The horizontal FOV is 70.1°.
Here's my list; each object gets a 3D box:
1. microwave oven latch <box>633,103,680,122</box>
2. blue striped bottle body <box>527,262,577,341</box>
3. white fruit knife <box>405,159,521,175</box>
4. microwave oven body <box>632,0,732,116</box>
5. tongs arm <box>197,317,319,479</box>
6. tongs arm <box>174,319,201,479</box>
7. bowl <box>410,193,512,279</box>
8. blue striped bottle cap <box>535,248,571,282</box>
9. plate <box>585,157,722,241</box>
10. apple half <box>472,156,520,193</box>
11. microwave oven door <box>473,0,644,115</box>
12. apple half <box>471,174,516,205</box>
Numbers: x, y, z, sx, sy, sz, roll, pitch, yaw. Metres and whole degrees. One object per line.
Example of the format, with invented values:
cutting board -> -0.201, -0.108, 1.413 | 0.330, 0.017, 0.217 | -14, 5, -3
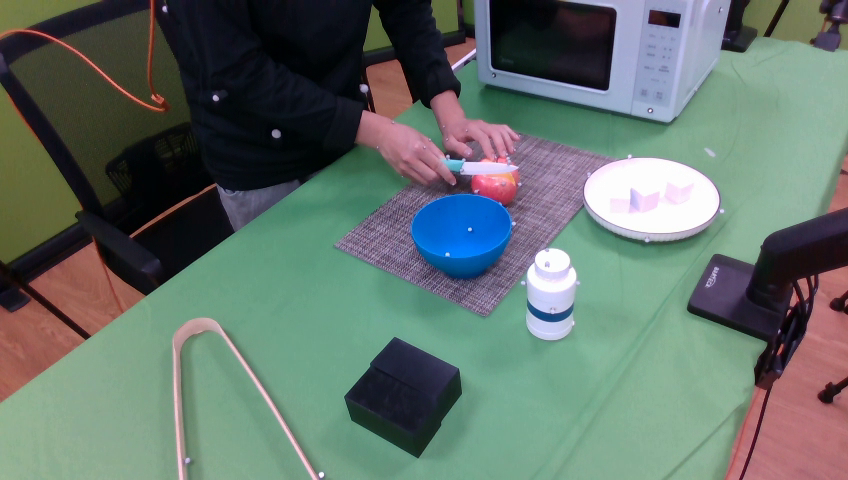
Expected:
microwave oven latch -> 0.444, -0.249, 1.158 | 0.078, 0.029, 0.030 | 21, 49, 30
blue striped bottle body -> 0.165, 0.070, 0.786 | 0.063, 0.121, 0.063 | -4, 41, 4
white fruit knife -> 0.059, -0.120, 0.992 | 0.206, 0.027, 0.016 | 4, 29, 25
microwave oven body -> 0.377, -0.463, 1.267 | 0.438, 0.261, 0.327 | 21, 49, 30
tongs arm -> -0.200, 0.207, 0.750 | 0.028, 0.028, 0.384 | -31, 45, -22
tongs arm -> -0.272, 0.234, 0.723 | 0.051, 0.026, 0.381 | -19, 40, -15
bowl -> 0.058, 0.005, 0.905 | 0.151, 0.077, 0.150 | -4, 40, 4
blue striped bottle cap -> 0.161, 0.031, 0.753 | 0.044, 0.021, 0.044 | -4, 42, 4
plate -> 0.367, -0.063, 0.979 | 0.207, 0.039, 0.206 | -4, 40, 4
apple half -> 0.128, -0.108, 1.032 | 0.080, 0.075, 0.053 | 9, 37, 26
microwave oven door -> 0.257, -0.396, 1.199 | 0.353, 0.245, 0.039 | 21, 48, 29
apple half -> 0.112, -0.074, 0.998 | 0.081, 0.082, 0.032 | 9, 56, 18
